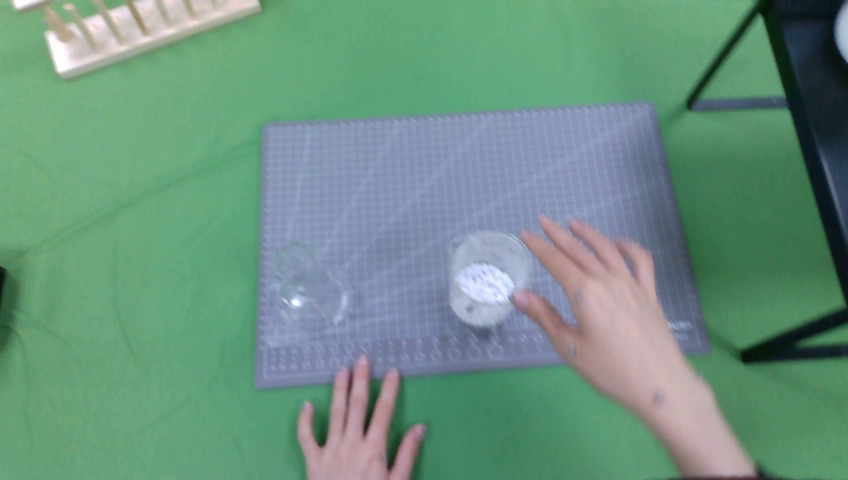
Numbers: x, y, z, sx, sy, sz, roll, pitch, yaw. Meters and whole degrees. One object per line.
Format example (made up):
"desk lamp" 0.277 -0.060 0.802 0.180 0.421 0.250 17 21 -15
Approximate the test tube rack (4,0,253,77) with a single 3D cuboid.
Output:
"test tube rack" -0.332 -0.280 0.695 0.242 0.086 0.066 -24 72 -10

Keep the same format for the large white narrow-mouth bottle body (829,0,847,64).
"large white narrow-mouth bottle body" 0.394 -0.208 0.434 0.102 0.196 0.101 0 68 1

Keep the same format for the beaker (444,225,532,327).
"beaker" 0.054 0.037 0.575 0.083 0.101 0.074 32 72 12

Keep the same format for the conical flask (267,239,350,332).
"conical flask" -0.112 0.037 0.560 0.075 0.122 0.075 0 69 0
